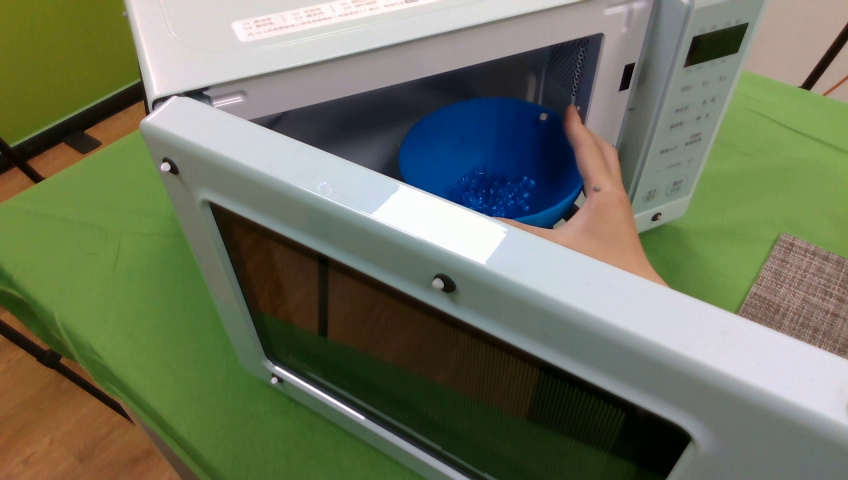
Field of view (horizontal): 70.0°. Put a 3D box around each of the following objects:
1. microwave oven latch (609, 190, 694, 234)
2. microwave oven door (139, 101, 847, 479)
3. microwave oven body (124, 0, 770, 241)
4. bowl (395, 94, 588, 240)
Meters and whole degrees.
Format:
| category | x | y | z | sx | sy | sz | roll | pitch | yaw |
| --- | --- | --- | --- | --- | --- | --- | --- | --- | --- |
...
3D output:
| category | x | y | z | sx | sy | sz | roll | pitch | yaw |
| --- | --- | --- | --- | --- | --- | --- | --- | --- | --- |
| microwave oven latch | 0.222 | -0.033 | 0.591 | 0.079 | 0.030 | 0.030 | -18 | 49 | -15 |
| microwave oven door | 0.007 | 0.075 | 0.347 | 0.353 | 0.246 | 0.039 | 23 | 50 | 22 |
| microwave oven body | -0.003 | -0.141 | 0.565 | 0.442 | 0.262 | 0.322 | -19 | 49 | -16 |
| bowl | 0.054 | -0.043 | 0.503 | 0.151 | 0.077 | 0.150 | -1 | 51 | 2 |
